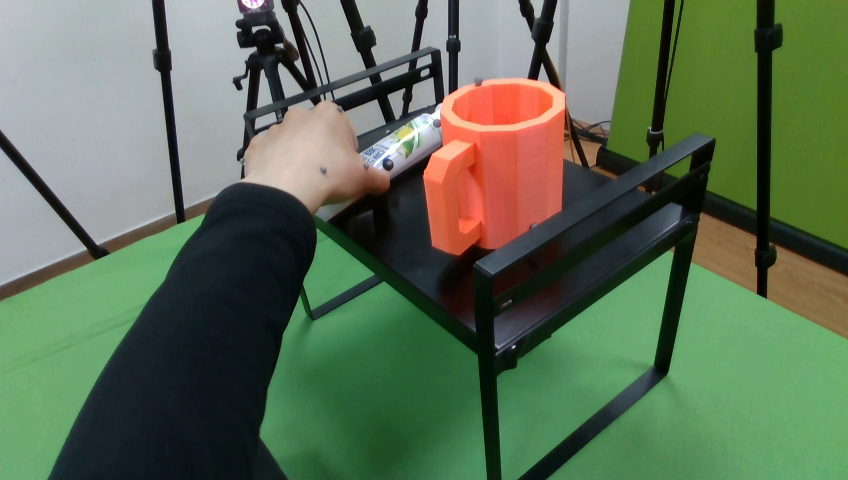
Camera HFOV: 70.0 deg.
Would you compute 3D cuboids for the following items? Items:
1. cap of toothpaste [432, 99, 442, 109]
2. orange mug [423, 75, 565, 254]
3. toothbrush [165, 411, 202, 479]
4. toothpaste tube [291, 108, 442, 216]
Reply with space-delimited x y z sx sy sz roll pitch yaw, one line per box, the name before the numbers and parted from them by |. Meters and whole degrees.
cap of toothpaste | 0.019 -0.115 0.570 0.011 0.038 0.037 -37 46 -28
orange mug | 0.047 -0.050 0.427 0.083 0.101 0.126 22 41 34
toothbrush | -0.159 0.186 0.434 0.014 0.017 0.180 -22 39 -24
toothpaste tube | -0.038 -0.074 0.535 0.165 0.035 0.054 -37 42 -28
